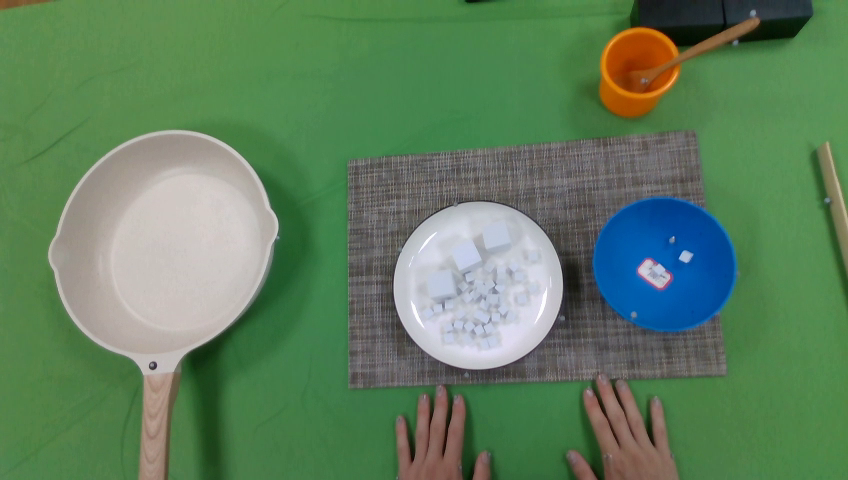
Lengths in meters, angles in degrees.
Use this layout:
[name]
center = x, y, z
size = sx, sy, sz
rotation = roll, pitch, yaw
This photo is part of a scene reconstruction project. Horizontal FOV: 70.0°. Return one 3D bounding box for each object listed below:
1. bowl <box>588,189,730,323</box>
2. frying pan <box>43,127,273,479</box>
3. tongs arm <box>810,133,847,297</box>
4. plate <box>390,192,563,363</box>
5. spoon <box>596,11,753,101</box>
[bowl]
center = 0.262, 0.024, 0.699
size = 0.151, 0.077, 0.150
rotation = -1, 78, 7
[frying pan]
center = -0.326, 0.098, 0.752
size = 0.306, 0.103, 0.484
rotation = -6, 70, 7
[tongs arm]
center = 0.502, 0.060, 0.692
size = 0.028, 0.028, 0.385
rotation = -10, 78, 4
[plate]
center = 0.063, 0.046, 0.742
size = 0.207, 0.039, 0.206
rotation = -1, 79, 7
[spoon]
center = 0.286, -0.214, 0.711
size = 0.022, 0.193, 0.041
rotation = -2, 78, -37
